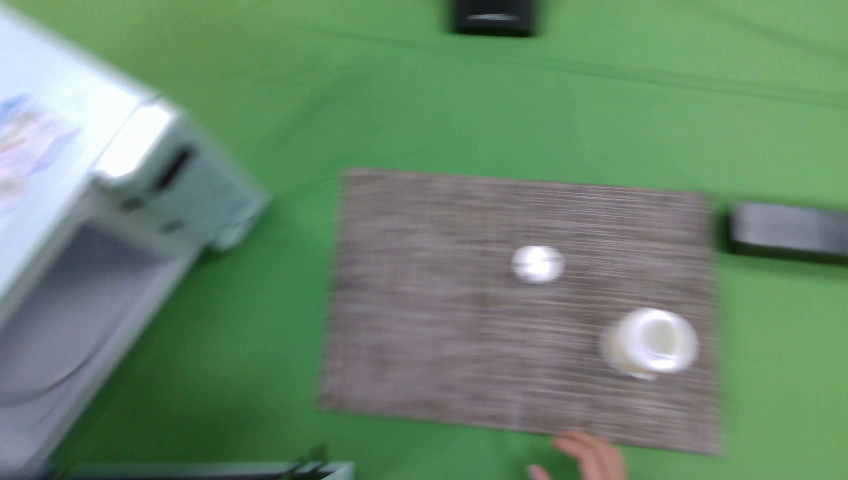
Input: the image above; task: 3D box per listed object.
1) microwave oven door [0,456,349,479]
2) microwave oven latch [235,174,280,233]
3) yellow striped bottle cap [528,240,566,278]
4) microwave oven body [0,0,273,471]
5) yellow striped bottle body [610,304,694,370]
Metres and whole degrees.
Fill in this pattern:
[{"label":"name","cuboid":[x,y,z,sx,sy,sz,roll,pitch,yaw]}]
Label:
[{"label":"microwave oven door","cuboid":[-0.267,0.234,0.558,0.356,0.245,0.039,-2,76,2]},{"label":"microwave oven latch","cuboid":[-0.206,-0.048,0.725,0.030,0.029,0.079,36,82,10]},{"label":"yellow striped bottle cap","cuboid":[0.146,0.022,0.717,0.044,0.019,0.044,-1,77,4]},{"label":"microwave oven body","cuboid":[-0.434,-0.008,0.628,0.325,0.261,0.441,33,81,10]},{"label":"yellow striped bottle body","cuboid":[0.241,0.103,0.638,0.063,0.121,0.062,-1,76,3]}]
